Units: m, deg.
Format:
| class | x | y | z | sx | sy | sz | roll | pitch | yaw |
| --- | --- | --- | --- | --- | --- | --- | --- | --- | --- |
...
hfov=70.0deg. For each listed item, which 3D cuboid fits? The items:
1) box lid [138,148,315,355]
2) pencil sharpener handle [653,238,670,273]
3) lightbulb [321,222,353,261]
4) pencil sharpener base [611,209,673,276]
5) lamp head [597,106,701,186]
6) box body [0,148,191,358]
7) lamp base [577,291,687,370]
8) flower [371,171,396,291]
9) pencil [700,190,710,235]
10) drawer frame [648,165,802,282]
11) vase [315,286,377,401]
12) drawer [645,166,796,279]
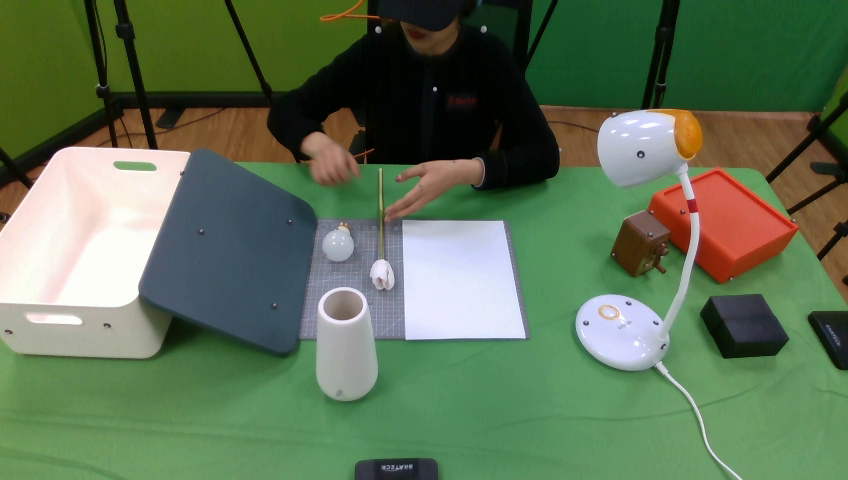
| class | x | y | z | sx | sy | sz | roll | pitch | yaw |
| --- | --- | --- | --- | --- | --- | --- | --- | --- | --- |
| box lid | -0.322 | 0.008 | 1.063 | 0.264 | 0.015 | 0.369 | 30 | 38 | -28 |
| pencil sharpener handle | 0.444 | 0.030 | 1.120 | 0.036 | 0.068 | 0.030 | -25 | 52 | -18 |
| lightbulb | -0.163 | -0.001 | 1.164 | 0.059 | 0.060 | 0.107 | 4 | 30 | 0 |
| pencil sharpener base | 0.416 | 0.007 | 1.158 | 0.061 | 0.107 | 0.076 | -21 | 51 | -22 |
| lamp head | 0.329 | -0.138 | 0.865 | 0.112 | 0.113 | 0.122 | -36 | 20 | -32 |
| box body | -0.545 | 0.017 | 1.045 | 0.254 | 0.161 | 0.361 | 2 | 46 | -2 |
| lamp base | 0.361 | 0.110 | 1.003 | 0.160 | 0.181 | 0.178 | -31 | 57 | -28 |
| flower | -0.090 | -0.034 | 1.227 | 0.044 | 0.038 | 0.359 | 22 | 35 | -25 |
| pencil | 0.584 | -0.059 | 1.256 | 0.012 | 0.012 | 0.193 | 16 | 35 | 12 |
| drawer frame | 0.603 | -0.040 | 1.233 | 0.202 | 0.083 | 0.212 | -21 | 51 | -23 |
| vase | -0.119 | 0.159 | 0.911 | 0.098 | 0.201 | 0.097 | 2 | 47 | -2 |
| drawer | 0.600 | -0.041 | 1.236 | 0.195 | 0.073 | 0.210 | -21 | 51 | -23 |
